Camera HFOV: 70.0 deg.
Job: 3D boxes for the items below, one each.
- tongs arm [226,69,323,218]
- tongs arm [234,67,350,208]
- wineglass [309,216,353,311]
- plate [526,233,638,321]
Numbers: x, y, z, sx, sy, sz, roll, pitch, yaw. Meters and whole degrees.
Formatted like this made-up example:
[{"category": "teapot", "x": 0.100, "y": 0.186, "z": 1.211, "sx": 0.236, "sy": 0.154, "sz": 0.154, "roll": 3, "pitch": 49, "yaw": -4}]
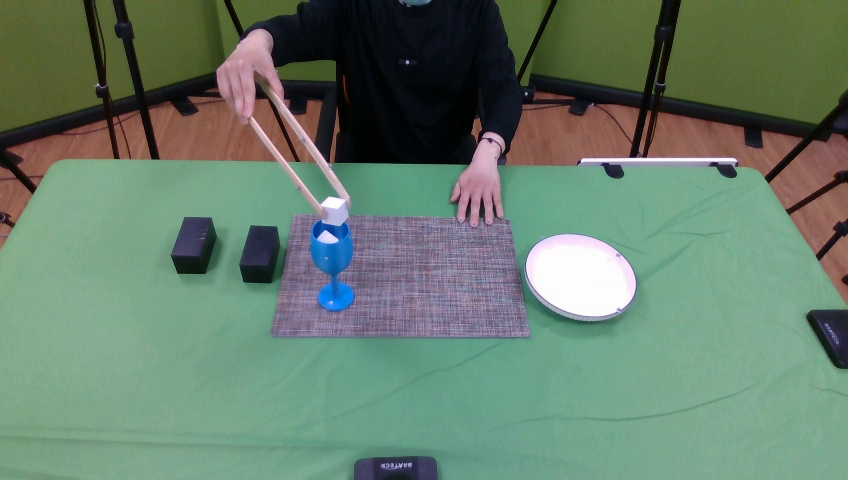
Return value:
[{"category": "tongs arm", "x": -0.255, "y": -0.169, "z": 1.008, "sx": 0.028, "sy": 0.028, "sz": 0.385, "roll": -27, "pitch": 58, "yaw": -19}, {"category": "tongs arm", "x": -0.231, "y": -0.181, "z": 1.019, "sx": 0.051, "sy": 0.026, "sz": 0.382, "roll": -23, "pitch": 56, "yaw": -20}, {"category": "wineglass", "x": -0.155, "y": 0.043, "z": 1.032, "sx": 0.074, "sy": 0.173, "sz": 0.073, "roll": 2, "pitch": 46, "yaw": -2}, {"category": "plate", "x": 0.292, "y": 0.071, "z": 1.135, "sx": 0.209, "sy": 0.038, "sz": 0.208, "roll": 2, "pitch": 46, "yaw": -2}]
